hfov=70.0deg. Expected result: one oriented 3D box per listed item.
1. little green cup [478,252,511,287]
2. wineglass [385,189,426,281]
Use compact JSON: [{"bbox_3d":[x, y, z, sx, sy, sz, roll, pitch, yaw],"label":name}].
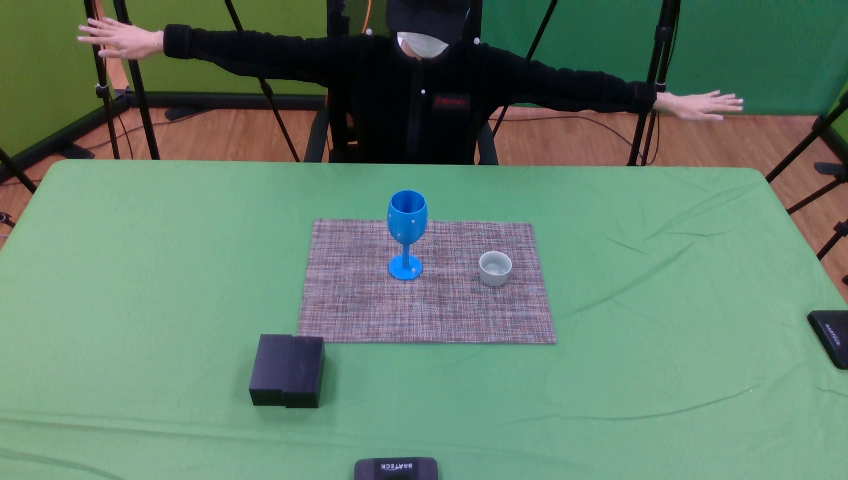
[{"bbox_3d":[0.131,0.057,1.137,0.061,0.039,0.061,2,46,-2],"label":"little green cup"},{"bbox_3d":[-0.034,-0.006,1.091,0.074,0.173,0.073,2,46,-2],"label":"wineglass"}]
